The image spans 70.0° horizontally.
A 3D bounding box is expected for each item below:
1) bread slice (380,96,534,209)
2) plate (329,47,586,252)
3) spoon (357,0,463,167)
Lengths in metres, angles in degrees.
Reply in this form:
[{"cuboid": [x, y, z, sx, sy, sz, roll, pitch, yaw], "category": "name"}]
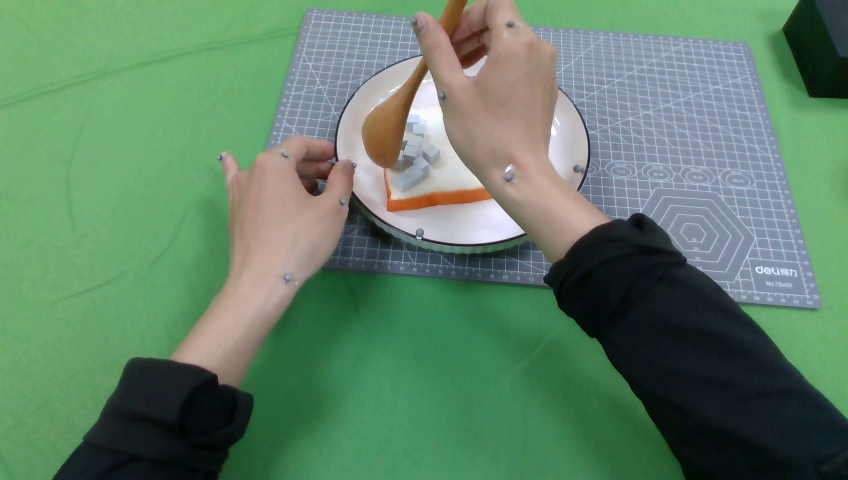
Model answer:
[{"cuboid": [0.025, -0.080, 0.508, 0.132, 0.019, 0.104, -8, 59, -6], "category": "bread slice"}, {"cuboid": [0.027, -0.076, 0.504, 0.209, 0.038, 0.207, 1, 59, -1], "category": "plate"}, {"cuboid": [-0.004, -0.122, 0.411, 0.022, 0.194, 0.041, -22, 65, -46], "category": "spoon"}]
